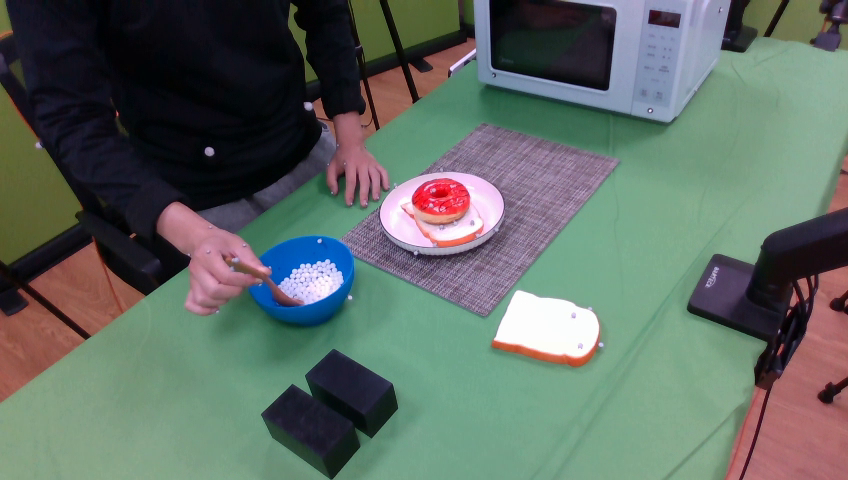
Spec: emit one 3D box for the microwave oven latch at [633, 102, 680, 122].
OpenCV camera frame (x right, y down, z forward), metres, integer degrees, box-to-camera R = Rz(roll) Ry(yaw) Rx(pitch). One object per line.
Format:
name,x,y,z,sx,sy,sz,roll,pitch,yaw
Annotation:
microwave oven latch,0.444,-0.249,1.157,0.078,0.029,0.030,21,49,30

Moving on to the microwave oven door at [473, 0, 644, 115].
microwave oven door,0.257,-0.396,1.199,0.353,0.245,0.039,21,48,29

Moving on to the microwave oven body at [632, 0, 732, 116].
microwave oven body,0.377,-0.462,1.267,0.438,0.261,0.327,21,48,30

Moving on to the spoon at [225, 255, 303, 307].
spoon,-0.204,0.053,0.774,0.041,0.195,0.021,14,69,18

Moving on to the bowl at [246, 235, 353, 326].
bowl,-0.170,0.070,0.868,0.151,0.077,0.150,-4,41,4

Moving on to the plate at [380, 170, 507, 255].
plate,0.033,-0.042,0.995,0.207,0.039,0.206,-4,40,4

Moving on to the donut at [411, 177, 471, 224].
donut,0.028,-0.064,0.978,0.099,0.048,0.098,-4,39,4

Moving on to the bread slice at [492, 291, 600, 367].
bread slice,0.169,0.118,0.811,0.131,0.019,0.105,11,44,21

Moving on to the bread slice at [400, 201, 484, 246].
bread slice,0.037,-0.038,0.990,0.107,0.018,0.133,-23,42,-17
